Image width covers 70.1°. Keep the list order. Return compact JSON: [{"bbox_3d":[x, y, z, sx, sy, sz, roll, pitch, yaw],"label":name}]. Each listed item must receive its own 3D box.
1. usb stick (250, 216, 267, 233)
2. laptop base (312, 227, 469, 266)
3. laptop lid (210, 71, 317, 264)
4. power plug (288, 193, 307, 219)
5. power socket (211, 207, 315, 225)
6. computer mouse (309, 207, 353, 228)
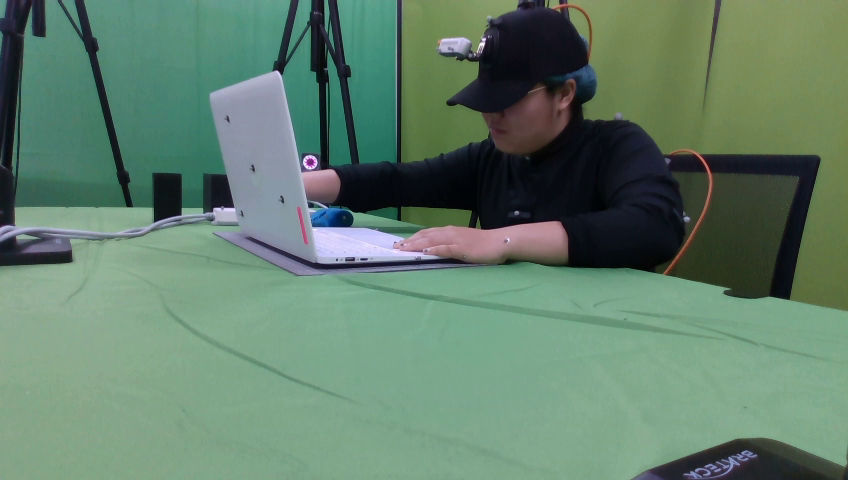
[{"bbox_3d":[-0.291,-0.026,1.068,0.021,0.027,0.059,3,10,-28],"label":"usb stick"},{"bbox_3d":[-0.123,0.008,0.951,0.237,0.023,0.352,2,6,-32],"label":"laptop base"},{"bbox_3d":[-0.240,-0.103,0.860,0.013,0.241,0.355,-16,17,-29],"label":"laptop lid"},{"bbox_3d":[-0.281,-0.076,1.340,0.035,0.052,0.072,3,7,-20],"label":"power plug"},{"bbox_3d":[-0.334,-0.051,1.281,0.228,0.032,0.072,-2,9,-28],"label":"power socket"},{"bbox_3d":[-0.202,-0.045,1.275,0.062,0.041,0.117,9,14,23],"label":"computer mouse"}]
